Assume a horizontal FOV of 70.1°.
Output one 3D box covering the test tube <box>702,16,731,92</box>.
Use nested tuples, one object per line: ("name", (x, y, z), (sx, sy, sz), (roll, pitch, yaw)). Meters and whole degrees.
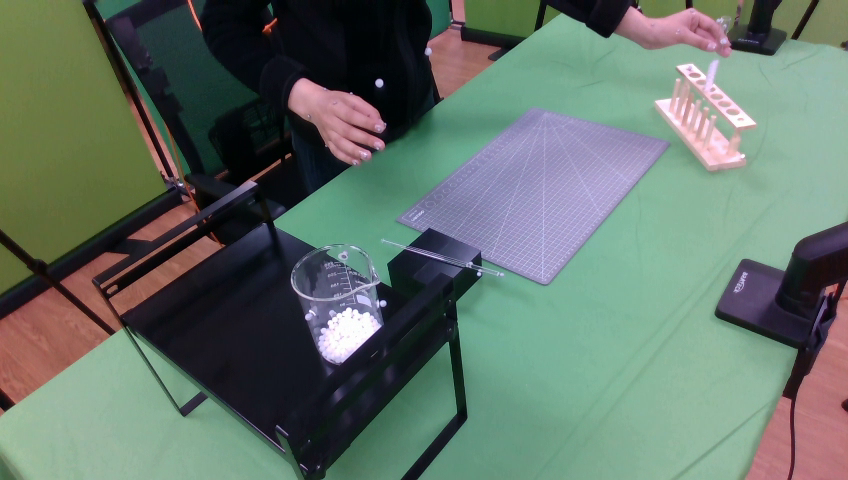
("test tube", (0.512, -0.318, 1.062), (0.017, 0.151, 0.017), (-3, 44, 3))

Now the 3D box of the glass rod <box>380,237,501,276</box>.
("glass rod", (0.020, 0.023, 0.881), (0.198, 0.008, 0.008), (16, 46, 25))

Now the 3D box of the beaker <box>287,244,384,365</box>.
("beaker", (-0.076, 0.064, 0.574), (0.083, 0.101, 0.074), (6, 43, 15))

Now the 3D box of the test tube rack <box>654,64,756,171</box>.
("test tube rack", (0.511, -0.233, 1.120), (0.067, 0.085, 0.241), (-8, 41, -1))
